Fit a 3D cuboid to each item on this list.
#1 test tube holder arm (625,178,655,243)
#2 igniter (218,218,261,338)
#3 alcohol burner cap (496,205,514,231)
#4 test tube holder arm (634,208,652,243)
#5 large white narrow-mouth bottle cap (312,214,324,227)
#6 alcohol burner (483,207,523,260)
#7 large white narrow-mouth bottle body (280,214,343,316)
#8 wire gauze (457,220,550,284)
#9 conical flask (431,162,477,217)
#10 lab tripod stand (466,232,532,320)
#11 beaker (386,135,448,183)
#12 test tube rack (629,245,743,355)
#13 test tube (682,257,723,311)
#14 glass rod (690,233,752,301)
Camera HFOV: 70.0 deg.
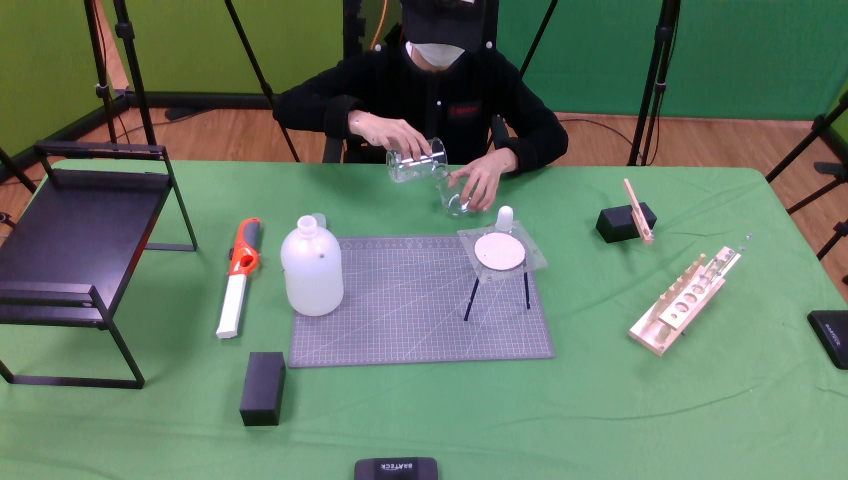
[{"bbox_3d":[0.433,-0.062,1.220,0.013,0.015,0.177,2,47,-3],"label":"test tube holder arm"},{"bbox_3d":[-0.336,0.060,1.111,0.057,0.025,0.274,-7,46,4],"label":"igniter"},{"bbox_3d":[0.153,-0.045,1.131,0.034,0.048,0.033,2,40,-1],"label":"alcohol burner cap"},{"bbox_3d":[0.428,-0.030,1.189,0.010,0.015,0.087,2,47,-3],"label":"test tube holder arm"},{"bbox_3d":[-0.219,-0.033,1.214,0.038,0.024,0.037,2,46,-2],"label":"large white narrow-mouth bottle cap"},{"bbox_3d":[0.152,-0.018,1.156,0.078,0.120,0.077,0,47,0],"label":"alcohol burner"},{"bbox_3d":[-0.190,0.035,1.025,0.102,0.195,0.101,2,46,-2],"label":"large white narrow-mouth bottle body"},{"bbox_3d":[0.131,0.014,1.016,0.121,0.011,0.124,-11,46,-14],"label":"wire gauze"},{"bbox_3d":[0.054,-0.107,1.224,0.075,0.122,0.075,-14,54,21],"label":"conical flask"},{"bbox_3d":[0.125,0.059,1.065,0.148,0.132,0.147,1,45,0],"label":"lab tripod stand"},{"bbox_3d":[-0.015,-0.148,1.140,0.100,0.084,0.073,-14,43,-19],"label":"beaker"},{"bbox_3d":[0.474,0.095,1.091,0.242,0.085,0.066,-34,56,-31],"label":"test tube rack"},{"bbox_3d":[0.475,0.080,1.037,0.017,0.151,0.017,1,51,-1],"label":"test tube"},{"bbox_3d":[0.507,0.053,1.041,0.008,0.200,0.008,5,51,-6],"label":"glass rod"}]
